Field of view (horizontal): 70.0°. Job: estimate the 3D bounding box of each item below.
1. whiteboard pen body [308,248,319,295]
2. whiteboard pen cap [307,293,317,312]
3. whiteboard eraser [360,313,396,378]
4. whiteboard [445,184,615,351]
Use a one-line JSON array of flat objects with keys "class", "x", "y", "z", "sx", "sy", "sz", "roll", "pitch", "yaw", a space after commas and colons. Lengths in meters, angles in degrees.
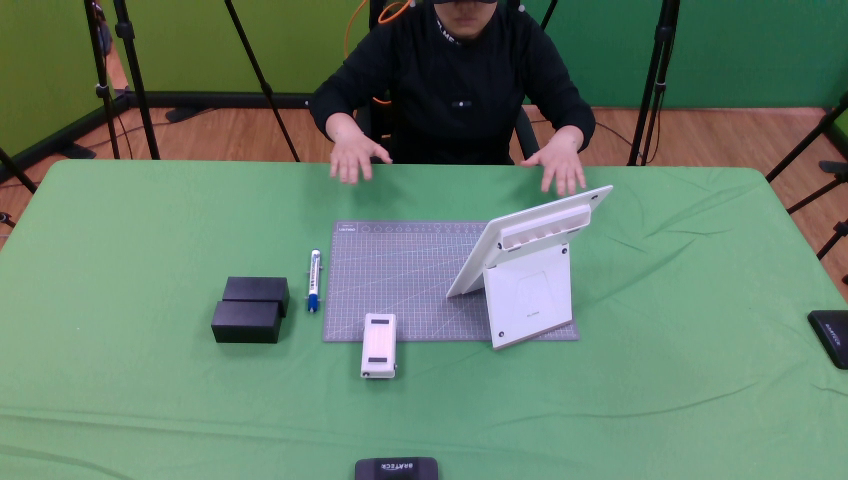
[{"class": "whiteboard pen body", "x": -0.204, "y": 0.069, "z": 1.119, "sx": 0.017, "sy": 0.017, "sz": 0.140, "roll": -1, "pitch": 46, "yaw": -5}, {"class": "whiteboard pen cap", "x": -0.199, "y": 0.110, "z": 1.078, "sx": 0.018, "sy": 0.018, "sz": 0.033, "roll": -1, "pitch": 48, "yaw": -5}, {"class": "whiteboard eraser", "x": -0.075, "y": 0.176, "z": 1.006, "sx": 0.055, "sy": 0.042, "sz": 0.112, "roll": 3, "pitch": 50, "yaw": -4}, {"class": "whiteboard", "x": 0.186, "y": 0.065, "z": 0.989, "sx": 0.217, "sy": 0.306, "sz": 0.143, "roll": -15, "pitch": 68, "yaw": -18}]
